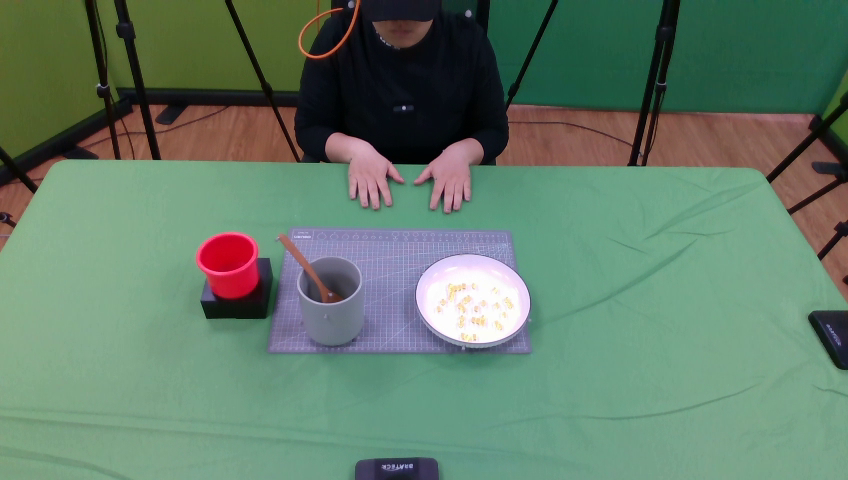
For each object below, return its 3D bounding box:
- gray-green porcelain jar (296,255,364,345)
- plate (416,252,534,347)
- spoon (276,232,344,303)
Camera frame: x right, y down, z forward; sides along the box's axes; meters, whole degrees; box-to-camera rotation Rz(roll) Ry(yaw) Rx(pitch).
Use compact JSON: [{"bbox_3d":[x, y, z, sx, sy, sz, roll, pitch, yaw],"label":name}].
[{"bbox_3d":[-0.153,0.105,1.008,0.106,0.127,0.105,2,46,-2],"label":"gray-green porcelain jar"},{"bbox_3d":[0.090,0.109,1.084,0.208,0.039,0.206,2,46,-2],"label":"plate"},{"bbox_3d":[-0.180,0.061,0.989,0.021,0.195,0.041,11,49,49],"label":"spoon"}]
